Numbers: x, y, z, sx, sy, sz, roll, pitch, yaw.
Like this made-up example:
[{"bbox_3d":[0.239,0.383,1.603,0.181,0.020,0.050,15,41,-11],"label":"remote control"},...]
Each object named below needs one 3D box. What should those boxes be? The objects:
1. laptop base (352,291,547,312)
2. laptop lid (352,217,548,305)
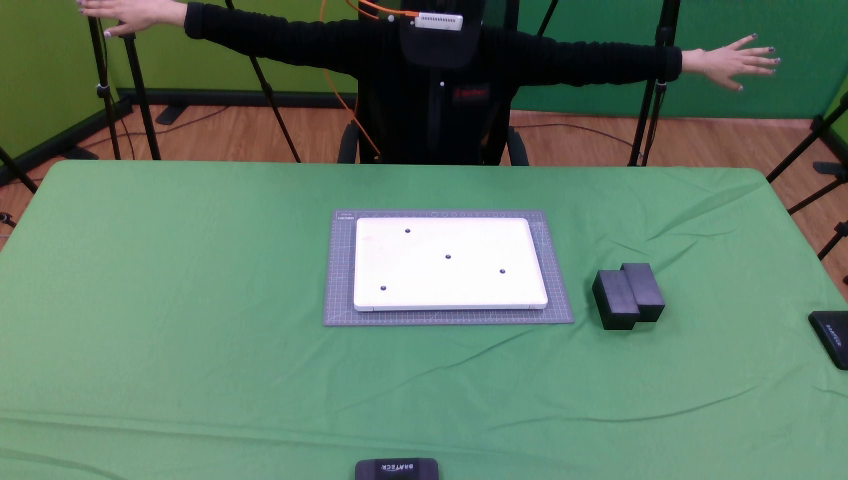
[{"bbox_3d":[0.043,0.044,1.162,0.355,0.023,0.234,0,43,-5],"label":"laptop base"},{"bbox_3d":[0.044,0.034,1.155,0.357,0.013,0.240,1,44,-3],"label":"laptop lid"}]
